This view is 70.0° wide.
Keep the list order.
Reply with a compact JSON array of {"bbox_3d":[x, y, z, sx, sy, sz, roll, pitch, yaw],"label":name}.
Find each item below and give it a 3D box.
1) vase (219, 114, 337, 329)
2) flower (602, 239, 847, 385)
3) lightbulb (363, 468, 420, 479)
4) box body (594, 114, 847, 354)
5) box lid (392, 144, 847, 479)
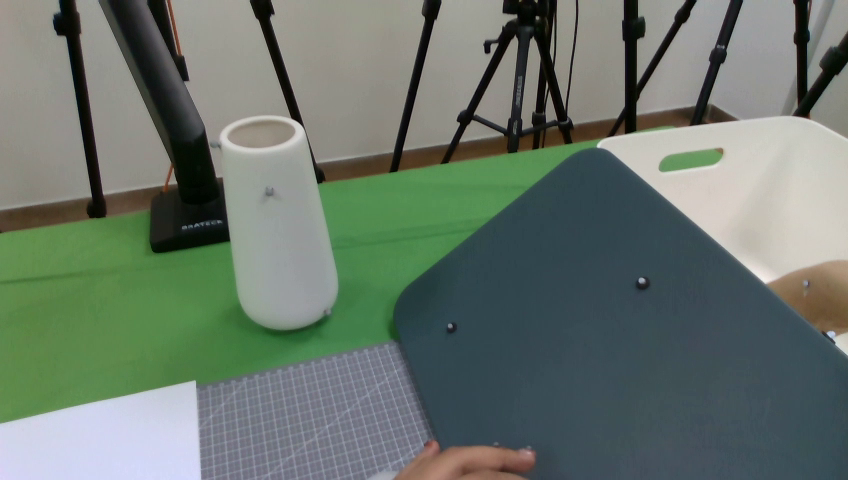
[{"bbox_3d":[-0.137,-0.013,0.567,0.098,0.202,0.097,0,36,1],"label":"vase"},{"bbox_3d":[0.333,0.095,0.576,0.358,0.038,0.044,33,40,30],"label":"flower"},{"bbox_3d":[-0.017,0.205,0.397,0.059,0.060,0.106,-8,53,-11],"label":"lightbulb"},{"bbox_3d":[0.327,0.046,0.528,0.255,0.162,0.360,-10,38,-13],"label":"box body"},{"bbox_3d":[0.117,0.088,0.458,0.263,0.015,0.367,-40,39,10],"label":"box lid"}]
